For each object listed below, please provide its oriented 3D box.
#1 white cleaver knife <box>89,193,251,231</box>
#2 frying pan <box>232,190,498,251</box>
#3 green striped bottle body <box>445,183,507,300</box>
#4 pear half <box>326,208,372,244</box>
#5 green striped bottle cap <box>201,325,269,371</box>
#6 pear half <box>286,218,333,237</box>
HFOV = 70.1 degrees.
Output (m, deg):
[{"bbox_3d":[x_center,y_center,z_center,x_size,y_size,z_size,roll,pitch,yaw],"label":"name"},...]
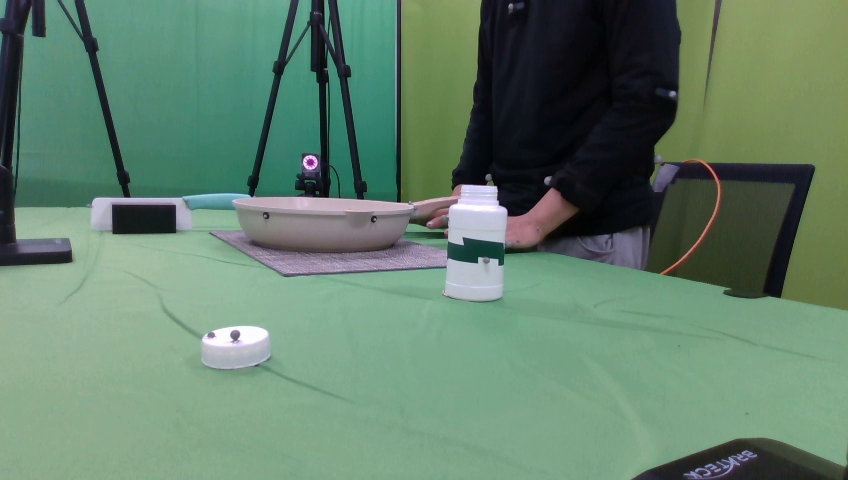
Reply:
[{"bbox_3d":[-0.454,-0.052,1.114,0.288,0.066,0.021,-4,15,-27],"label":"white cleaver knife"},{"bbox_3d":[-0.073,-0.051,1.048,0.490,0.102,0.305,-11,13,-27],"label":"frying pan"},{"bbox_3d":[0.055,0.000,0.644,0.063,0.119,0.063,2,7,0],"label":"green striped bottle body"},{"bbox_3d":[-0.128,-0.026,1.017,0.076,0.056,0.109,5,4,-19],"label":"pear half"},{"bbox_3d":[-0.129,0.073,0.415,0.044,0.020,0.044,2,8,0],"label":"green striped bottle cap"},{"bbox_3d":[-0.197,-0.022,1.054,0.088,0.031,0.070,-9,17,-44],"label":"pear half"}]
